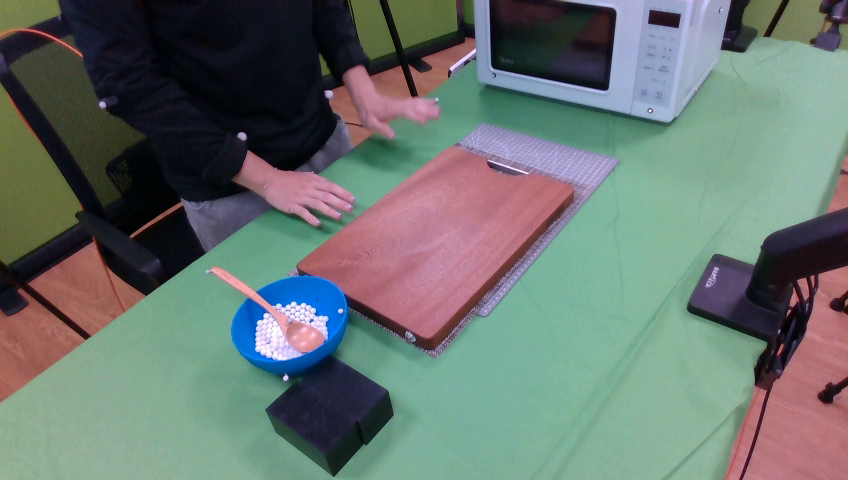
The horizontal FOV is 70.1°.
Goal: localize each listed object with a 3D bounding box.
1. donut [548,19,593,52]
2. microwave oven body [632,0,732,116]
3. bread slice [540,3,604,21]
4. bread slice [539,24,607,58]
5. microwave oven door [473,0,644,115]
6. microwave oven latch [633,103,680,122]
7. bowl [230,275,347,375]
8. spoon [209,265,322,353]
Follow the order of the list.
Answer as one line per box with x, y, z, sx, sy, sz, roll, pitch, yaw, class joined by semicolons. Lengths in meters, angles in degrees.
0.315;-0.441;1.300;0.099;0.048;0.098;-19;36;15;donut
0.377;-0.462;1.267;0.438;0.261;0.327;21;48;30;microwave oven body
0.318;-0.483;1.278;0.106;0.018;0.135;17;33;27;bread slice
0.335;-0.445;1.337;0.132;0.019;0.104;-31;43;-20;bread slice
0.257;-0.396;1.199;0.353;0.245;0.039;21;48;29;microwave oven door
0.443;-0.249;1.157;0.078;0.029;0.030;20;48;30;microwave oven latch
-0.171;0.125;0.802;0.151;0.077;0.150;-4;40;4;bowl
-0.214;0.088;0.806;0.193;0.021;0.042;37;56;11;spoon
